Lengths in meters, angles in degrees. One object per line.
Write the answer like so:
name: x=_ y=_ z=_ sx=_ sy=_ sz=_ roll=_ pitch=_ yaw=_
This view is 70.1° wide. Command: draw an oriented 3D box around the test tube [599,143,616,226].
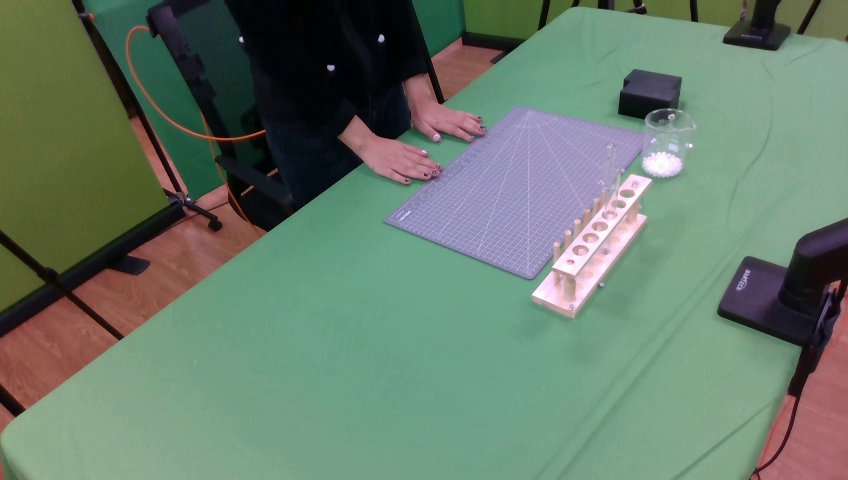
test tube: x=0.273 y=-0.081 z=0.909 sx=0.017 sy=0.151 sz=0.017 roll=-4 pitch=42 yaw=4

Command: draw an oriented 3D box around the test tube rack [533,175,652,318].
test tube rack: x=0.250 y=-0.001 z=0.889 sx=0.066 sy=0.085 sz=0.243 roll=23 pitch=49 yaw=33

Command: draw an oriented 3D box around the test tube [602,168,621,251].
test tube: x=0.264 y=-0.039 z=0.854 sx=0.017 sy=0.151 sz=0.017 roll=-5 pitch=44 yaw=6

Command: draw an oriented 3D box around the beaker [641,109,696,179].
beaker: x=0.415 y=-0.161 z=1.035 sx=0.083 sy=0.101 sz=0.074 roll=19 pitch=48 yaw=29
